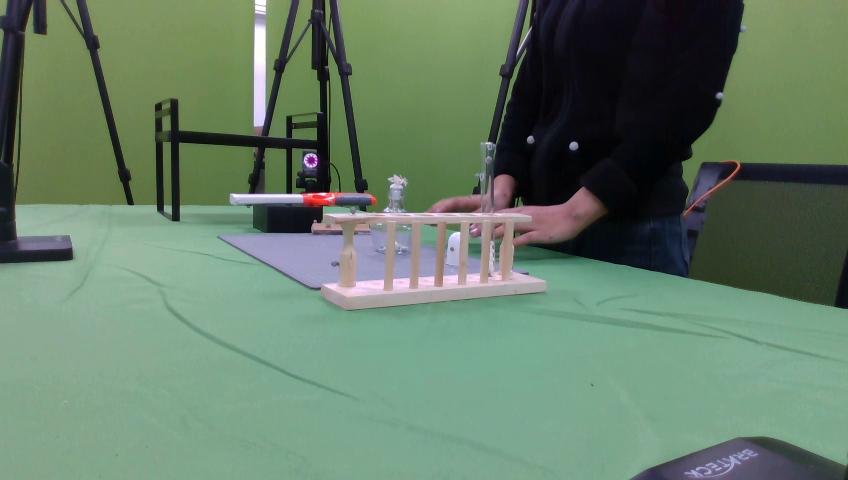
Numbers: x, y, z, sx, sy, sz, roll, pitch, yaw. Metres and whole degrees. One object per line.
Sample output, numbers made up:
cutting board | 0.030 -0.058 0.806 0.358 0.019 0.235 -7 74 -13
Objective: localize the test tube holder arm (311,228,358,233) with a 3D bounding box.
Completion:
test tube holder arm | -0.163 -0.021 1.102 0.088 0.015 0.010 -2 -21 -23

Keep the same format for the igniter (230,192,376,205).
igniter | -0.226 -0.079 1.161 0.278 0.025 0.057 -2 15 -28

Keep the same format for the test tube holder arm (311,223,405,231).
test tube holder arm | -0.119 -0.024 1.116 0.179 0.015 0.013 -2 -21 -23

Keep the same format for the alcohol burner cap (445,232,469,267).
alcohol burner cap | 0.045 0.013 0.829 0.034 0.048 0.034 2 7 0

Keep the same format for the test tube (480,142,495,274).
test tube | 0.072 -0.036 0.685 0.017 0.150 0.017 -1 5 0

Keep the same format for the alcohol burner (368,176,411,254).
alcohol burner | -0.045 -0.038 0.913 0.078 0.119 0.078 4 8 0

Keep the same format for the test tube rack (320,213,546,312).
test tube rack | 0.018 0.017 0.638 0.244 0.085 0.066 -2 9 -31
